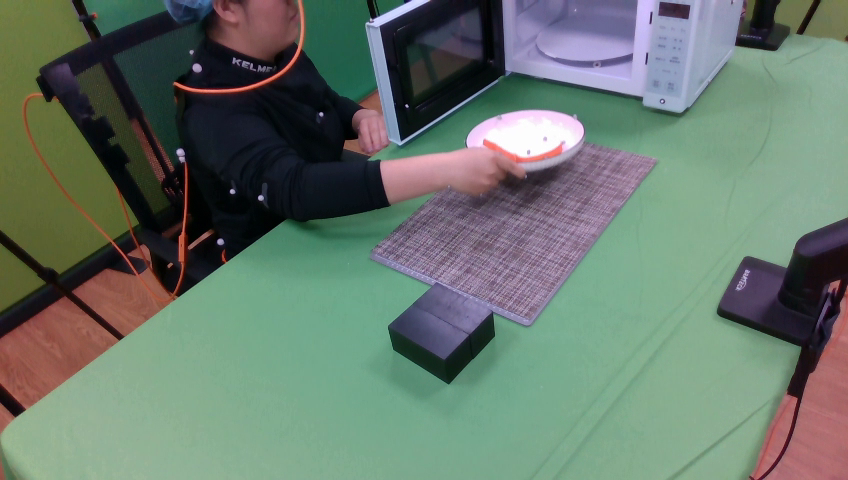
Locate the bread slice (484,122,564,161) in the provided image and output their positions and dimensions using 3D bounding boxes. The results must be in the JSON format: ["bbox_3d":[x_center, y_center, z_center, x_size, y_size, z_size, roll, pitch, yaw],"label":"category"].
[{"bbox_3d":[0.184,-0.172,1.073,0.105,0.019,0.130,-23,36,-18],"label":"bread slice"}]

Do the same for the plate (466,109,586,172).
[{"bbox_3d":[0.181,-0.173,1.070,0.209,0.038,0.208,-7,34,5],"label":"plate"}]

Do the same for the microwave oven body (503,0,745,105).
[{"bbox_3d":[0.416,-0.486,1.290,0.438,0.261,0.327,21,50,33],"label":"microwave oven body"}]

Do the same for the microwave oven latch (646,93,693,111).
[{"bbox_3d":[0.477,-0.273,1.177,0.078,0.029,0.030,22,50,33],"label":"microwave oven latch"}]

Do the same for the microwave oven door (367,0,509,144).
[{"bbox_3d":[0.045,-0.384,1.234,0.039,0.245,0.357,28,53,36],"label":"microwave oven door"}]
